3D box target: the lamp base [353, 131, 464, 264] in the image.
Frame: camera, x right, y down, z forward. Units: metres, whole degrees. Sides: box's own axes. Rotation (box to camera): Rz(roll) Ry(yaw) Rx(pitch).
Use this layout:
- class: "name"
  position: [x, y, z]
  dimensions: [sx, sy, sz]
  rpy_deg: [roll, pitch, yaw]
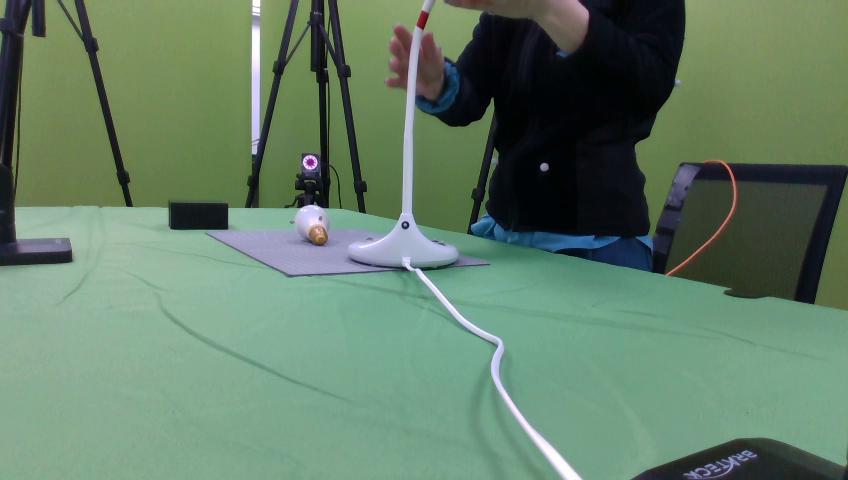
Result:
- class: "lamp base"
  position: [-0.014, -0.062, 0.850]
  dimensions: [0.161, 0.180, 0.178]
  rpy_deg: [-1, 11, -20]
